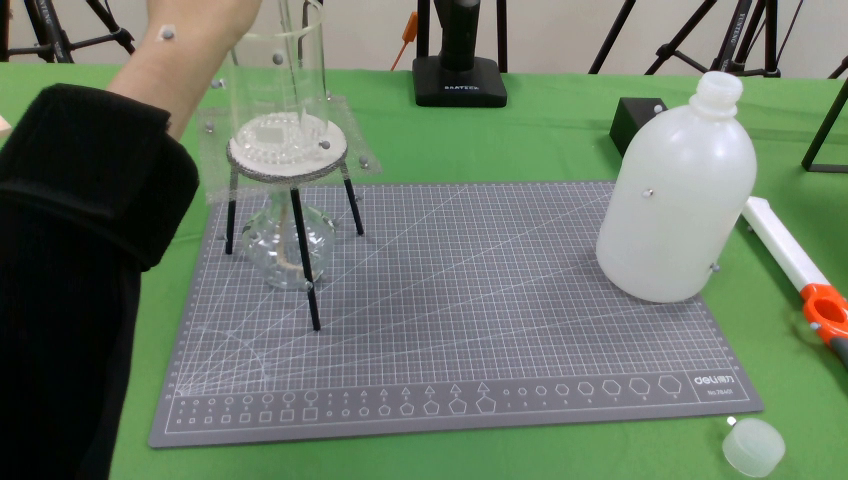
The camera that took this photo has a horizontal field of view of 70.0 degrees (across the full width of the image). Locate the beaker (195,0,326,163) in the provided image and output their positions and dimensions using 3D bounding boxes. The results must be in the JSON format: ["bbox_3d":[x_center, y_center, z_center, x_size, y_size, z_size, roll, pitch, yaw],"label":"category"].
[{"bbox_3d":[-0.109,-0.111,0.426,0.084,0.101,0.073,-6,44,-11],"label":"beaker"}]

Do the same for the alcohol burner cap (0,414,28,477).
[{"bbox_3d":[-0.280,0.128,0.388,0.034,0.048,0.033,4,42,-3],"label":"alcohol burner cap"}]

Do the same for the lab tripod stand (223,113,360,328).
[{"bbox_3d":[-0.106,-0.023,0.499,0.148,0.132,0.147,4,42,-3],"label":"lab tripod stand"}]

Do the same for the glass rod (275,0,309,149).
[{"bbox_3d":[-0.091,-0.150,0.383,0.008,0.201,0.008,-2,34,2],"label":"glass rod"}]

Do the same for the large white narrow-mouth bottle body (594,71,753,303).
[{"bbox_3d":[0.211,-0.045,0.505,0.102,0.196,0.101,2,42,-1],"label":"large white narrow-mouth bottle body"}]

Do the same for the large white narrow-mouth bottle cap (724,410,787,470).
[{"bbox_3d":[0.236,0.143,0.432,0.038,0.024,0.037,2,42,-1],"label":"large white narrow-mouth bottle cap"}]

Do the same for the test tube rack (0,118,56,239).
[{"bbox_3d":[-0.458,-0.016,0.501,0.066,0.086,0.242,34,50,29],"label":"test tube rack"}]

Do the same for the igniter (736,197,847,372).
[{"bbox_3d":[0.350,0.052,0.539,0.057,0.025,0.273,8,40,-12],"label":"igniter"}]

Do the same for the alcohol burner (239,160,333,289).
[{"bbox_3d":[-0.116,-0.017,0.506,0.078,0.120,0.077,4,40,-3],"label":"alcohol burner"}]

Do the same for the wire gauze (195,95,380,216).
[{"bbox_3d":[-0.106,-0.073,0.457,0.122,0.011,0.123,-12,48,-15],"label":"wire gauze"}]
